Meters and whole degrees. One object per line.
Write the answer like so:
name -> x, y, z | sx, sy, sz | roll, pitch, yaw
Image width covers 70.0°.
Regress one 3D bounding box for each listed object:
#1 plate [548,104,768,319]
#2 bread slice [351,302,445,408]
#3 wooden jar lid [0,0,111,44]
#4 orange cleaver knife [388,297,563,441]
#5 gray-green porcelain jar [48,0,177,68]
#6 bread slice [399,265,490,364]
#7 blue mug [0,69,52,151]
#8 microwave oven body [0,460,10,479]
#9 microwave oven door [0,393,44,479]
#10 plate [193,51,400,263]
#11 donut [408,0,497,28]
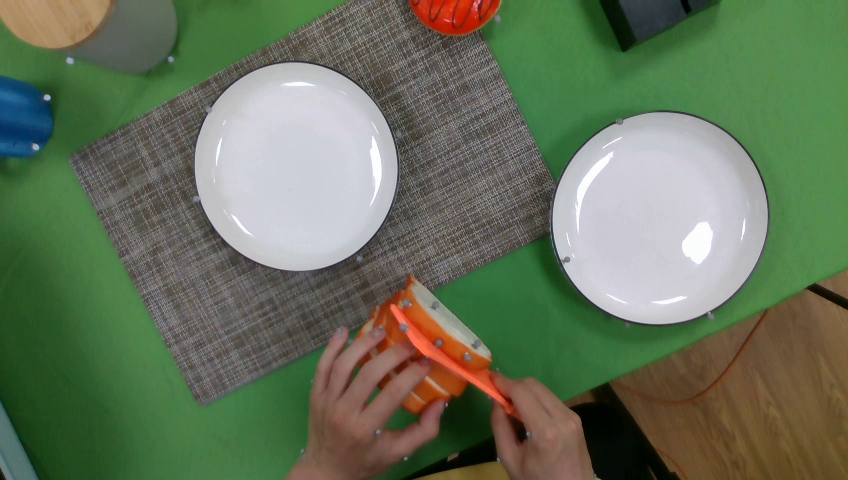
plate -> 0.226, -0.028, 0.601 | 0.209, 0.038, 0.209 | 0, 96, 4
bread slice -> -0.027, 0.111, 0.584 | 0.105, 0.131, 0.019 | 42, 99, 0
wooden jar lid -> -0.310, -0.219, 0.510 | 0.108, 0.020, 0.108 | 0, 94, 5
orange cleaver knife -> 0.049, 0.118, 0.555 | 0.213, 0.076, 0.012 | 39, 98, -24
gray-green porcelain jar -> -0.305, -0.224, 0.572 | 0.106, 0.126, 0.106 | 0, 95, 4
bread slice -> 0.021, 0.073, 0.578 | 0.107, 0.134, 0.018 | 39, 96, -5
blue mug -> -0.452, -0.120, 0.601 | 0.082, 0.106, 0.116 | 38, 97, 0
microwave oven body -> -0.624, 0.228, 0.564 | 0.326, 0.260, 0.442 | -23, 94, 5
microwave oven door -> -0.473, 0.210, 0.548 | 0.039, 0.243, 0.356 | -24, 93, 6
plate -> -0.126, -0.081, 0.615 | 0.207, 0.039, 0.208 | 0, 96, 4
donut -> 0.027, -0.255, 0.585 | 0.099, 0.048, 0.099 | 0, 96, 3
